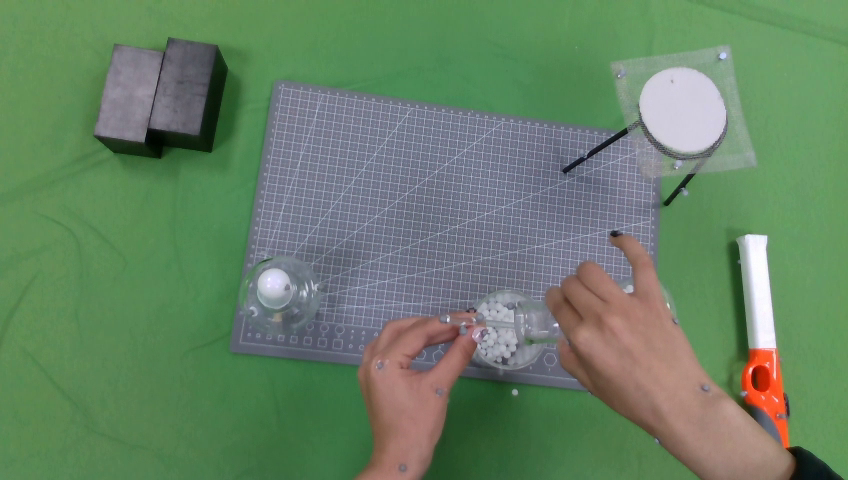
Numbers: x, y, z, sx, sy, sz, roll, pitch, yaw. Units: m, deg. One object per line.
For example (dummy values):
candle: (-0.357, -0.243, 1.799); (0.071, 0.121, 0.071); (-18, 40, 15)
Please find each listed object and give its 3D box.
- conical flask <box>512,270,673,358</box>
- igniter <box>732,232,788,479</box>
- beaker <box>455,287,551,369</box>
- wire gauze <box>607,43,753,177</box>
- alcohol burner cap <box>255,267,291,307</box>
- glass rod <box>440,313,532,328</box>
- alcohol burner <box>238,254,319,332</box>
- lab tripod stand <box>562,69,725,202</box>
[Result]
conical flask: (0.137, 0.065, 0.508); (0.122, 0.075, 0.075); (-2, 80, -8)
igniter: (0.371, 0.127, 0.670); (0.057, 0.025, 0.275); (3, 80, -17)
beaker: (0.074, 0.089, 0.605); (0.084, 0.100, 0.073); (-11, 81, -8)
wire gauze: (0.246, -0.124, 0.577); (0.125, 0.011, 0.121); (-9, 83, -8)
alcohol burner cap: (-0.136, 0.040, 0.545); (0.034, 0.048, 0.033); (4, 72, -12)
glass rod: (0.059, 0.070, 0.513); (0.008, 0.201, 0.008); (-5, 79, 27)
alcohol burner: (-0.141, 0.048, 0.580); (0.078, 0.119, 0.077); (2, 78, -8)
lab tripod stand: (0.236, -0.108, 0.642); (0.149, 0.131, 0.148); (1, 81, -7)
